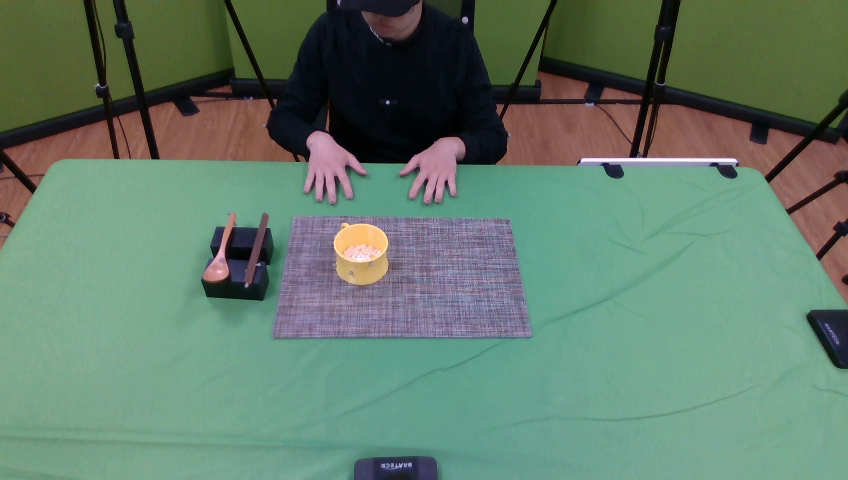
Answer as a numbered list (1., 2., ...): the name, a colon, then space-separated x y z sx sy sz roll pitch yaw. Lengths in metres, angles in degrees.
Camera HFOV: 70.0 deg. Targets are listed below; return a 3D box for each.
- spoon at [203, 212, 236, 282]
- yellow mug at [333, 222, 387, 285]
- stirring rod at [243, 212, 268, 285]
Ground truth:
1. spoon: -0.361 0.009 1.097 0.041 0.022 0.192 0 44 -3
2. yellow mug: -0.127 0.016 1.139 0.100 0.064 0.130 -23 51 -24
3. stirring rod: -0.305 0.012 1.101 0.014 0.006 0.175 31 38 -28
